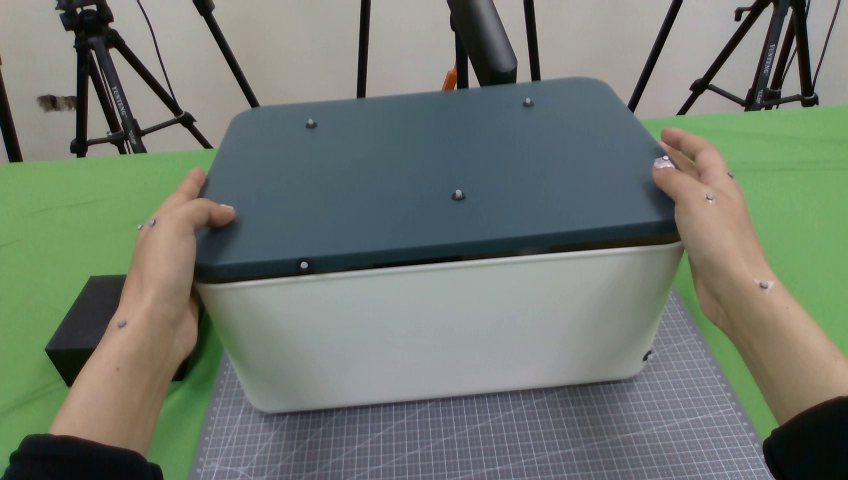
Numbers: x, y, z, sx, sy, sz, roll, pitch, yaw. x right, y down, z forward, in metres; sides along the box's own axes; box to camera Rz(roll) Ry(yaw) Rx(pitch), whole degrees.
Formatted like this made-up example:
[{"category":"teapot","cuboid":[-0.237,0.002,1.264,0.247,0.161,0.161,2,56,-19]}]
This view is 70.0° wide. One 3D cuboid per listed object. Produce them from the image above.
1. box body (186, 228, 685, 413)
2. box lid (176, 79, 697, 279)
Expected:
[{"category":"box body","cuboid":[0.008,0.007,0.563,0.364,0.162,0.251,-5,37,-2]},{"category":"box lid","cuboid":[0.001,-0.068,0.507,0.372,0.015,0.260,-6,36,-2]}]
